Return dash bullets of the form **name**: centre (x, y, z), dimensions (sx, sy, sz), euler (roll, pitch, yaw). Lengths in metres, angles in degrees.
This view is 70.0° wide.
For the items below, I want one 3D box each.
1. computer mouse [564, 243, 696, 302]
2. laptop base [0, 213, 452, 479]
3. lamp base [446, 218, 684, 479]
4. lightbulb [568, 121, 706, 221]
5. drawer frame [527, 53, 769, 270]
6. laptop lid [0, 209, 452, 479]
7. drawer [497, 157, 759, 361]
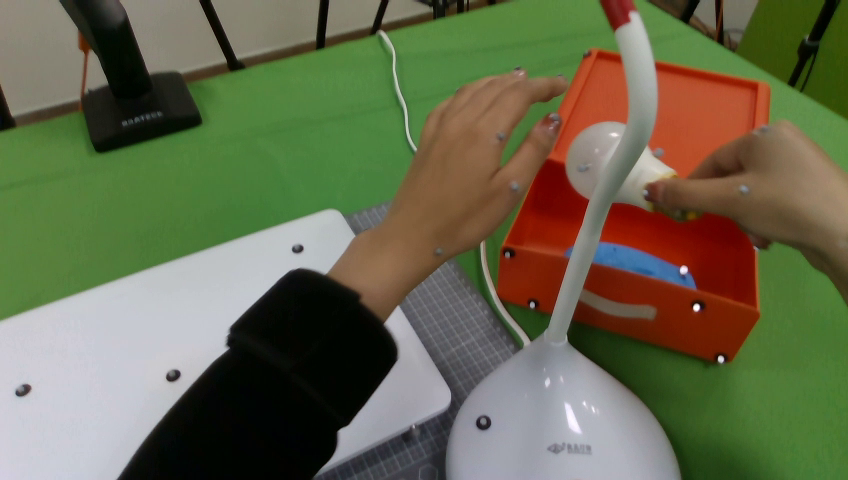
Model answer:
- **computer mouse**: centre (0.172, 0.038, 0.515), dimensions (0.117, 0.041, 0.062), euler (12, 48, 9)
- **laptop base**: centre (-0.185, 0.109, 0.465), dimensions (0.355, 0.023, 0.233), euler (-21, 52, -19)
- **lamp base**: centre (0.094, 0.089, 0.368), dimensions (0.161, 0.182, 0.177), euler (-7, 44, -8)
- **lightbulb**: centre (0.152, -0.046, 0.435), dimensions (0.059, 0.060, 0.106), euler (-30, 48, -25)
- **drawer frame**: centre (0.230, -0.091, 0.616), dimensions (0.201, 0.083, 0.212), euler (16, 47, 16)
- **laptop lid**: centre (-0.184, 0.103, 0.455), dimensions (0.357, 0.013, 0.239), euler (-20, 51, -18)
- **drawer**: centre (0.188, -0.015, 0.546), dimensions (0.194, 0.074, 0.210), euler (14, 47, 15)
